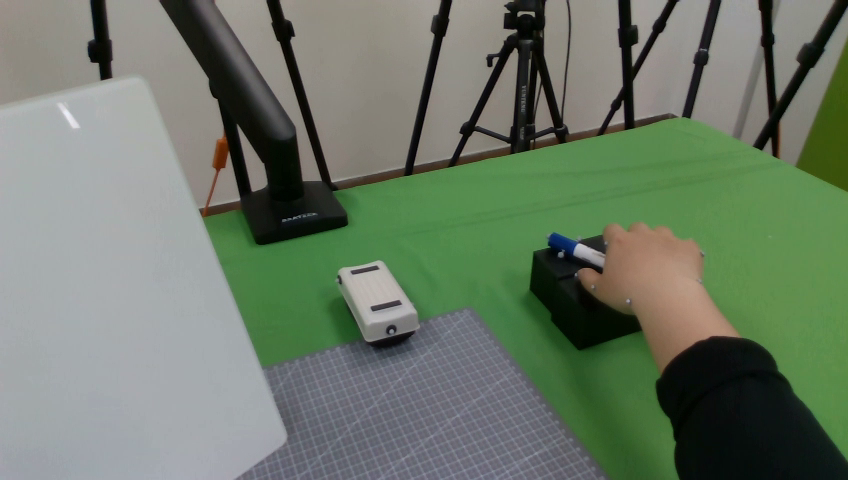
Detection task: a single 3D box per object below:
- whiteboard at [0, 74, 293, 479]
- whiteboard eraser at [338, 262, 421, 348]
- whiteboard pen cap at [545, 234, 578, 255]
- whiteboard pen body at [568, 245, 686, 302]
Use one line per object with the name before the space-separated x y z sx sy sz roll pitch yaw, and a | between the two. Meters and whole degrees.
whiteboard | -0.264 0.065 0.433 0.217 0.307 0.143 -29 24 -36
whiteboard eraser | -0.048 0.066 0.621 0.056 0.042 0.111 -14 32 -18
whiteboard pen cap | 0.147 0.006 0.644 0.033 0.018 0.018 -14 32 10
whiteboard pen body | 0.194 0.028 0.611 0.139 0.017 0.017 26 41 33
